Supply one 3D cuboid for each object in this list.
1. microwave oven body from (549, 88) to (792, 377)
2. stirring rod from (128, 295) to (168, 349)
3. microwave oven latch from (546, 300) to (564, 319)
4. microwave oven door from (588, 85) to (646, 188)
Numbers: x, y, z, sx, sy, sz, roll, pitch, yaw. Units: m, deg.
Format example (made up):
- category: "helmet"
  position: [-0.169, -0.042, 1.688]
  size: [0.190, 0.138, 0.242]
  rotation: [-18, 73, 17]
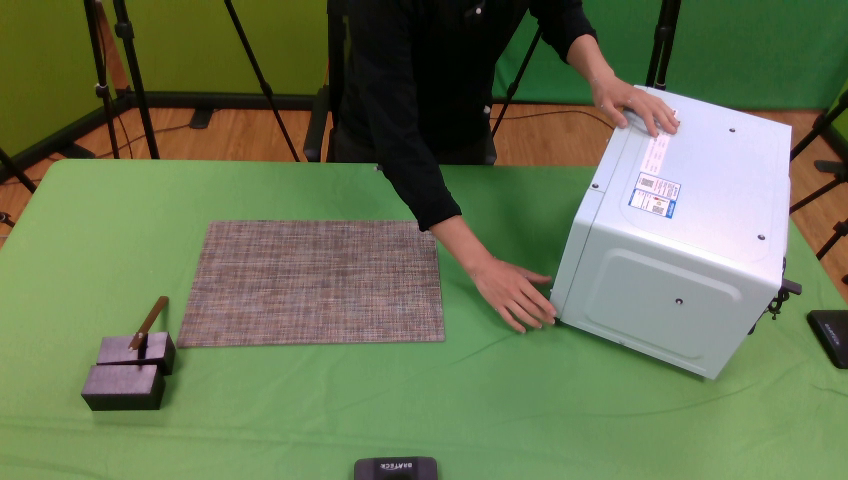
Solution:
- category: "microwave oven body"
  position: [0.456, -0.028, 1.088]
  size: [0.325, 0.261, 0.440]
  rotation: [20, 47, 16]
- category: "stirring rod"
  position: [-0.451, 0.131, 0.996]
  size: [0.014, 0.006, 0.175]
  rotation: [9, 21, -10]
- category: "microwave oven latch"
  position: [0.242, 0.102, 1.081]
  size: [0.030, 0.029, 0.079]
  rotation: [21, 48, 17]
- category: "microwave oven door"
  position: [0.342, -0.107, 1.149]
  size: [0.039, 0.245, 0.354]
  rotation: [21, 48, 15]
